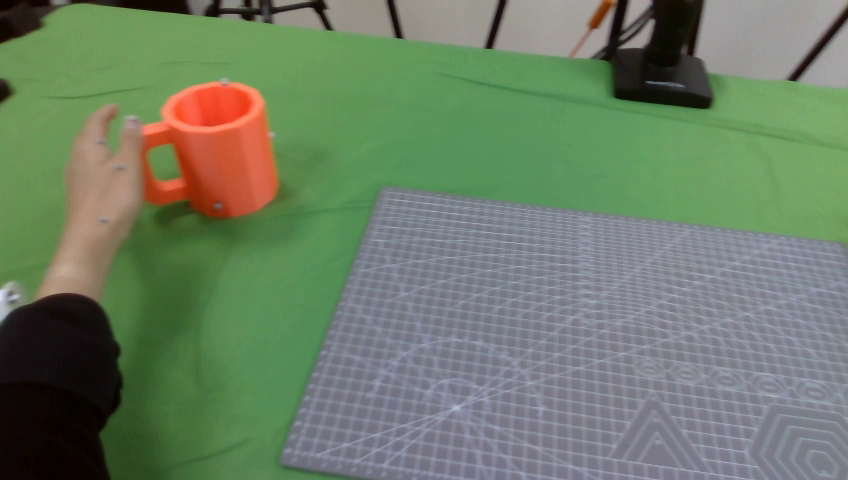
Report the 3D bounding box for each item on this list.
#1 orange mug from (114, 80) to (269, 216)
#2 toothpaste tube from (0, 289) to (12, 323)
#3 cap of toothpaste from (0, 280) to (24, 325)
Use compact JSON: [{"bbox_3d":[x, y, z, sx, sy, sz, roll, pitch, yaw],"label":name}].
[{"bbox_3d":[-0.212,-0.081,0.560,0.126,0.101,0.082,-16,47,-25],"label":"orange mug"},{"bbox_3d":[-0.396,0.067,0.448,0.165,0.035,0.054,-15,42,-12],"label":"toothpaste tube"},{"bbox_3d":[-0.320,0.048,0.462,0.011,0.038,0.037,-15,46,-12],"label":"cap of toothpaste"}]
